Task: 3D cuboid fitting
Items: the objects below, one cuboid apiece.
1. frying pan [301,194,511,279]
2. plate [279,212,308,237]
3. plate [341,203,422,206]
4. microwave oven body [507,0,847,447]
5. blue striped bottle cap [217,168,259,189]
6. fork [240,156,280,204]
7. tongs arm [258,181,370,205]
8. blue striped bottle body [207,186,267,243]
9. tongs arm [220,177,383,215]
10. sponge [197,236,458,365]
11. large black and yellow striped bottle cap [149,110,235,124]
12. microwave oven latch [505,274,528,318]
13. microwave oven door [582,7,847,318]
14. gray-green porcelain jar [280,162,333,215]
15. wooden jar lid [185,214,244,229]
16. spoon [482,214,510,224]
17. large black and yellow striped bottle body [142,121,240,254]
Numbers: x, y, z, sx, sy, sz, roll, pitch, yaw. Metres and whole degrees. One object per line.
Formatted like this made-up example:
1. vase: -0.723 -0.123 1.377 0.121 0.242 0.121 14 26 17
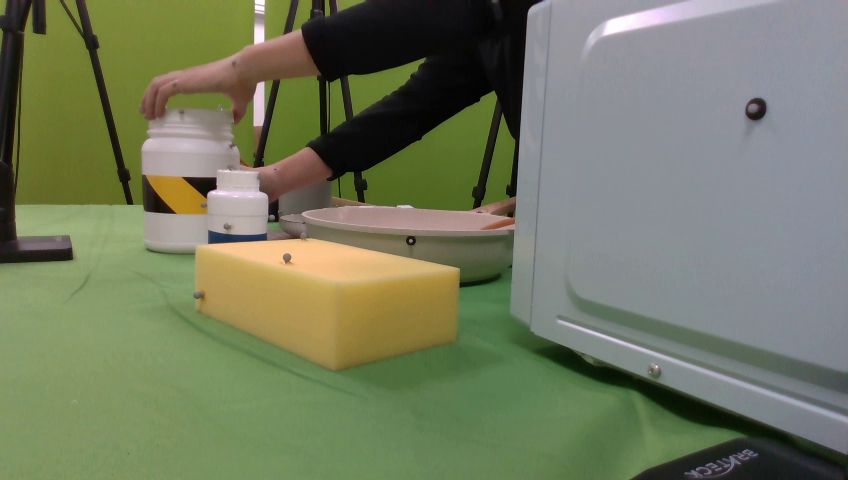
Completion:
1. frying pan: 0.050 -0.028 0.864 0.305 0.102 0.490 8 18 35
2. plate: -0.139 -0.022 1.020 0.209 0.038 0.209 2 8 0
3. plate: -0.089 -0.053 1.309 0.208 0.039 0.207 2 8 0
4. microwave oven body: 0.331 -0.042 0.425 0.444 0.260 0.324 -2 8 -31
5. blue striped bottle cap: -0.202 -0.067 0.656 0.044 0.020 0.044 0 10 0
6. fork: -0.396 -0.143 1.486 0.028 0.018 0.208 20 -26 45
7. tongs arm: -0.241 -0.095 1.373 0.387 0.026 0.050 9 -1 -37
8. blue striped bottle body: -0.204 -0.016 0.663 0.063 0.120 0.063 2 7 0
9. tongs arm: -0.285 -0.103 1.445 0.389 0.027 0.028 9 -4 -23
10. sponge: -0.087 0.039 0.500 0.119 0.061 0.206 -5 9 -45
11. large black and yellow striped bottle cap: -0.330 -0.175 0.863 0.115 0.019 0.115 0 12 0
12. microwave oven latch: 0.100 0.041 0.472 0.079 0.029 0.030 -2 8 -31
13. microwave oven door: 0.295 -0.067 0.569 0.358 0.243 0.039 -3 8 -31
14. gray-green porcelain jar: -0.238 -0.092 1.221 0.106 0.126 0.106 2 7 0
15. wooden jar lid: -0.404 -0.037 1.169 0.108 0.020 0.108 3 7 0
16. spoon: 0.076 -0.013 0.794 0.193 0.021 0.042 -24 -3 11
17. large black and yellow striped bottle body: -0.333 -0.079 0.874 0.131 0.184 0.130 1 8 0
